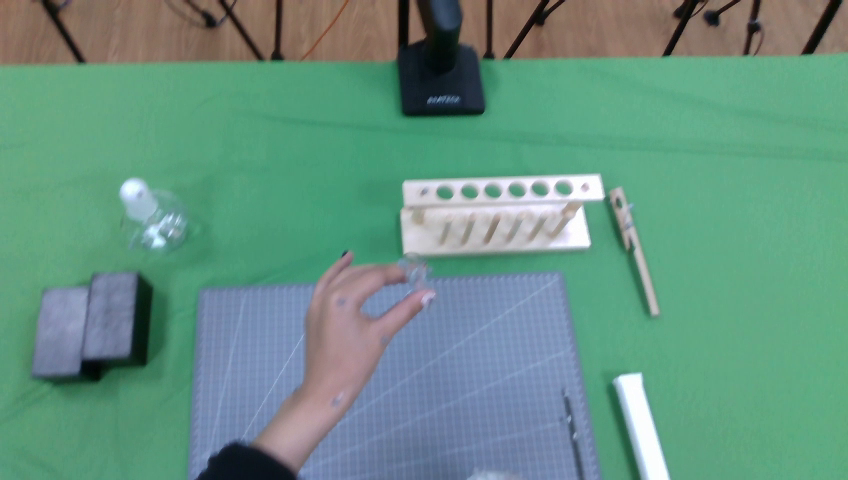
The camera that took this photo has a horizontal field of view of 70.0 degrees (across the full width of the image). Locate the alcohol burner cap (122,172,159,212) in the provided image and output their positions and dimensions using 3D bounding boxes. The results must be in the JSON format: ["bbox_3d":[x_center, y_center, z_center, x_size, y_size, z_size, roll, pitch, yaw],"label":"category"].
[{"bbox_3d":[-0.317,-0.057,0.673,0.034,0.048,0.033,5,60,-8],"label":"alcohol burner cap"}]

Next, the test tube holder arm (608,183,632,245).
[{"bbox_3d":[0.264,-0.035,0.809,0.010,0.015,0.087,-22,67,24],"label":"test tube holder arm"}]

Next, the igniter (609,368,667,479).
[{"bbox_3d":[0.256,0.281,0.671,0.057,0.025,0.274,-2,67,-17],"label":"igniter"}]

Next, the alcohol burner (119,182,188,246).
[{"bbox_3d":[-0.320,-0.040,0.705,0.078,0.120,0.077,1,65,-2],"label":"alcohol burner"}]

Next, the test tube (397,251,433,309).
[{"bbox_3d":[-0.006,0.039,0.538,0.017,0.151,0.017,-2,71,6],"label":"test tube"}]

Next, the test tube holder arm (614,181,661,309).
[{"bbox_3d":[0.277,0.004,0.791,0.013,0.015,0.177,-22,67,24],"label":"test tube holder arm"}]

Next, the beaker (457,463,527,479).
[{"bbox_3d":[0.055,0.236,0.523,0.084,0.101,0.073,-13,65,-11],"label":"beaker"}]

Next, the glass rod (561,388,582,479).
[{"bbox_3d":[0.173,0.265,0.677,0.008,0.008,0.198,-3,68,-7],"label":"glass rod"}]

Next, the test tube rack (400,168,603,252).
[{"bbox_3d":[0.094,-0.037,0.757,0.243,0.085,0.066,-2,67,-6],"label":"test tube rack"}]
